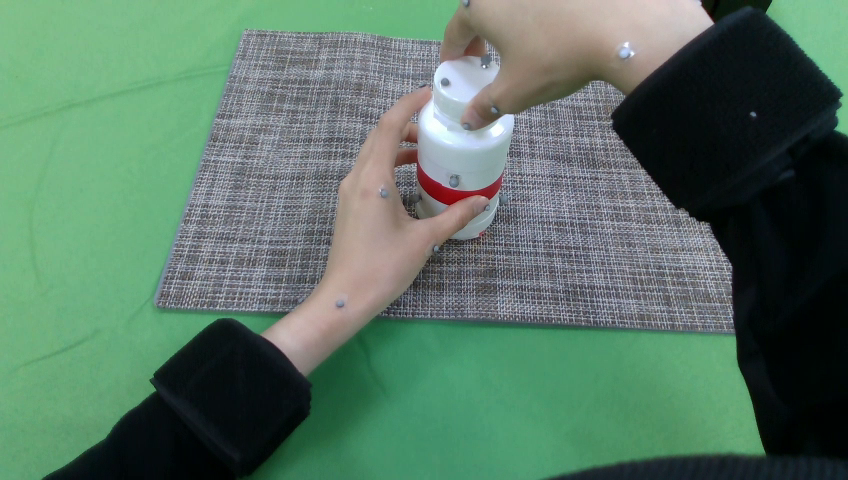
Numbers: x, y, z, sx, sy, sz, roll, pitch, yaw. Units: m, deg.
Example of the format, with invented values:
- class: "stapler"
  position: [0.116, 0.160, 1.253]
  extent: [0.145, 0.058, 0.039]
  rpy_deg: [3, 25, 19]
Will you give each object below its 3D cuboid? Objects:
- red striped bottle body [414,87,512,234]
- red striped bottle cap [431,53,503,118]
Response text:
- class: "red striped bottle body"
  position: [0.025, -0.062, 0.416]
  extent: [0.063, 0.120, 0.062]
  rpy_deg: [1, 55, -1]
- class: "red striped bottle cap"
  position: [0.026, -0.095, 0.368]
  extent: [0.044, 0.018, 0.044]
  rpy_deg: [0, 52, 0]
